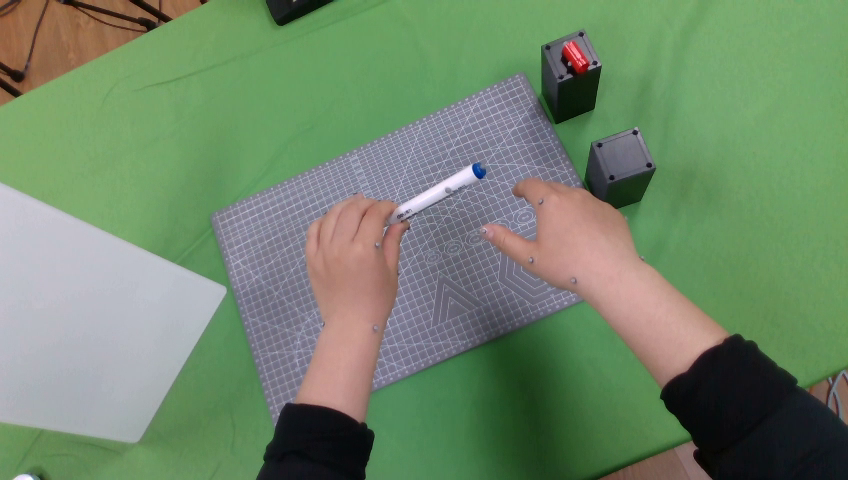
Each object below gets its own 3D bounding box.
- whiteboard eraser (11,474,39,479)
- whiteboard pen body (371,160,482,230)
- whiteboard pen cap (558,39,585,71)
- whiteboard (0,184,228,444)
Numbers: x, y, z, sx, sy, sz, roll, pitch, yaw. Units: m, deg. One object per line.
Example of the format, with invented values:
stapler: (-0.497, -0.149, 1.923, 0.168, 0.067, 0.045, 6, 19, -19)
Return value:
whiteboard eraser: (-0.466, 0.325, 0.729, 0.100, 0.019, 0.041, 38, 83, 17)
whiteboard pen body: (-0.003, -0.038, 0.562, 0.140, 0.017, 0.016, -28, 68, 36)
whiteboard pen cap: (0.159, -0.199, 0.653, 0.017, 0.017, 0.032, -29, 73, 2)
whiteboard: (-0.419, 0.075, 0.672, 0.142, 0.309, 0.217, 22, 80, 36)
